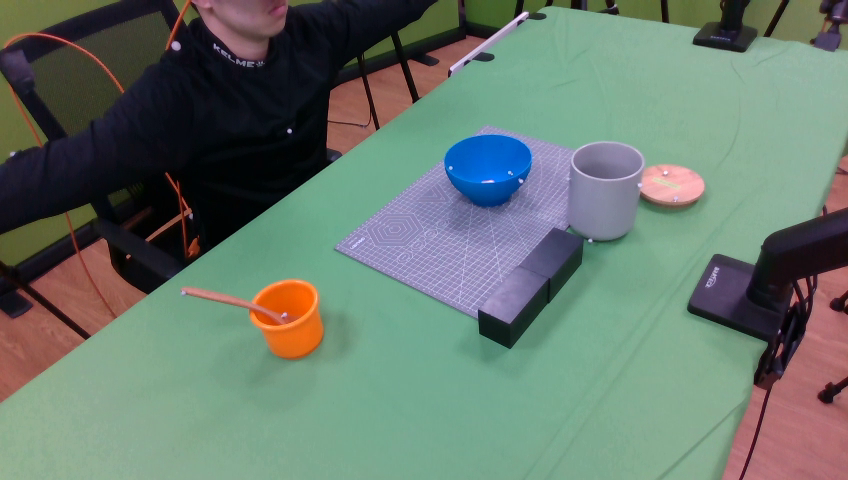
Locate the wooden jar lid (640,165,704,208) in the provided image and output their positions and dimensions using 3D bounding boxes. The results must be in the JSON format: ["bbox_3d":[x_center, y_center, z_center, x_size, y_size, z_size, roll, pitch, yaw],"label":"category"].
[{"bbox_3d":[0.410,-0.088,1.015,0.108,0.021,0.108,-5,41,5],"label":"wooden jar lid"}]

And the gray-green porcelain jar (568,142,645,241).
[{"bbox_3d":[0.276,-0.070,0.931,0.106,0.127,0.105,-4,41,4],"label":"gray-green porcelain jar"}]

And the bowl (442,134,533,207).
[{"bbox_3d":[0.110,-0.109,1.033,0.151,0.077,0.150,-4,41,4],"label":"bowl"}]

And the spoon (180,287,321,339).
[{"bbox_3d":[-0.223,0.093,0.796,0.021,0.195,0.041,-47,36,23],"label":"spoon"}]
